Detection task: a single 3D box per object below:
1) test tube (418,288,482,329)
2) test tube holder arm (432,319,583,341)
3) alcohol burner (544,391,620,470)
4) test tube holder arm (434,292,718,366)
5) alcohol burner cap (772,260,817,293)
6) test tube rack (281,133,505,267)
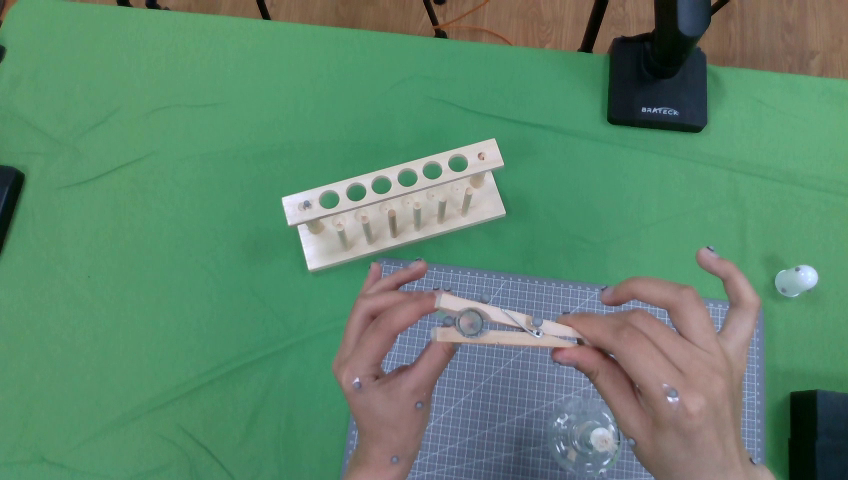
[{"bbox_3d":[0.014,0.045,0.417,0.017,0.150,0.017,0,89,-10],"label":"test tube"},{"bbox_3d":[0.048,0.052,0.347,0.088,0.015,0.010,3,87,-11],"label":"test tube holder arm"},{"bbox_3d":[0.163,0.191,0.607,0.078,0.119,0.077,0,75,0],"label":"alcohol burner"},{"bbox_3d":[0.093,0.053,0.356,0.179,0.015,0.013,12,86,-11],"label":"test tube holder arm"},{"bbox_3d":[0.424,0.040,0.688,0.034,0.048,0.033,0,73,1],"label":"alcohol burner cap"},{"bbox_3d":[-0.028,-0.043,0.690,0.242,0.085,0.066,-16,74,-4],"label":"test tube rack"}]
